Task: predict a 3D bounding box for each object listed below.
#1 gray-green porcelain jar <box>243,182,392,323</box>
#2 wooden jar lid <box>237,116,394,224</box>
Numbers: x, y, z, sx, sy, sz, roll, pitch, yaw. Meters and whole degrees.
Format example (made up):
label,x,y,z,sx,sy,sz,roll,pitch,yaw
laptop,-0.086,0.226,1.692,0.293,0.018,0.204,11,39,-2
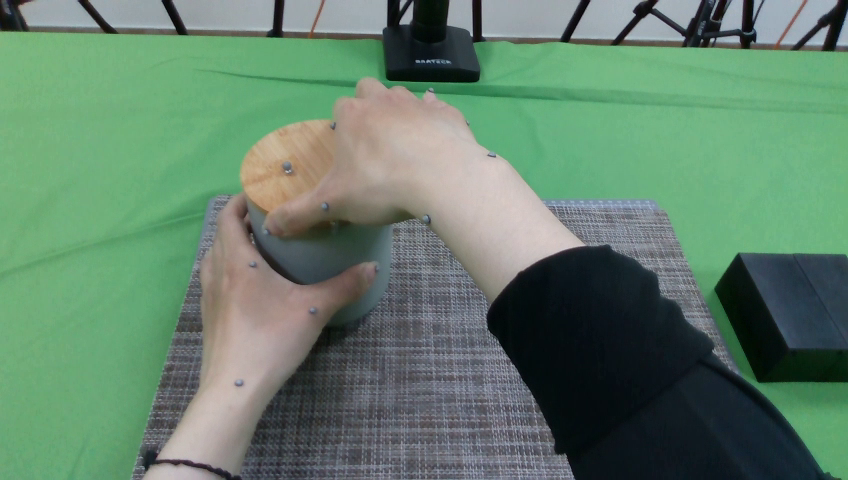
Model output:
label,x,y,z,sx,sy,sz,roll,pitch,yaw
gray-green porcelain jar,-0.080,-0.005,0.473,0.106,0.127,0.105,3,47,-3
wooden jar lid,-0.075,-0.048,0.427,0.108,0.021,0.107,3,49,-3
